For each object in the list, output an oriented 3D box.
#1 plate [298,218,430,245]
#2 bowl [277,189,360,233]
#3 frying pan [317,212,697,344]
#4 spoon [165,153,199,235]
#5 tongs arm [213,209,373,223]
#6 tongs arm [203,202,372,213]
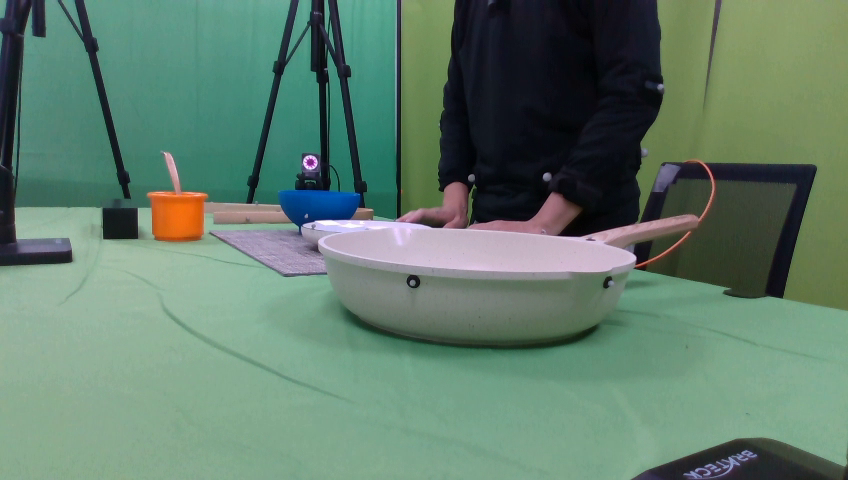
[{"bbox_3d":[-0.091,-0.006,0.949,0.208,0.039,0.207,2,7,0],"label":"plate"},{"bbox_3d":[-0.195,-0.052,1.118,0.151,0.077,0.151,2,7,0],"label":"bowl"},{"bbox_3d":[0.133,0.013,0.629,0.490,0.102,0.305,-12,14,-31],"label":"frying pan"},{"bbox_3d":[-0.417,-0.081,1.027,0.042,0.193,0.021,1,-37,-37],"label":"spoon"},{"bbox_3d":[-0.274,-0.054,1.347,0.390,0.028,0.028,-2,6,-37],"label":"tongs arm"},{"bbox_3d":[-0.312,-0.068,1.417,0.387,0.026,0.050,1,8,-24],"label":"tongs arm"}]
